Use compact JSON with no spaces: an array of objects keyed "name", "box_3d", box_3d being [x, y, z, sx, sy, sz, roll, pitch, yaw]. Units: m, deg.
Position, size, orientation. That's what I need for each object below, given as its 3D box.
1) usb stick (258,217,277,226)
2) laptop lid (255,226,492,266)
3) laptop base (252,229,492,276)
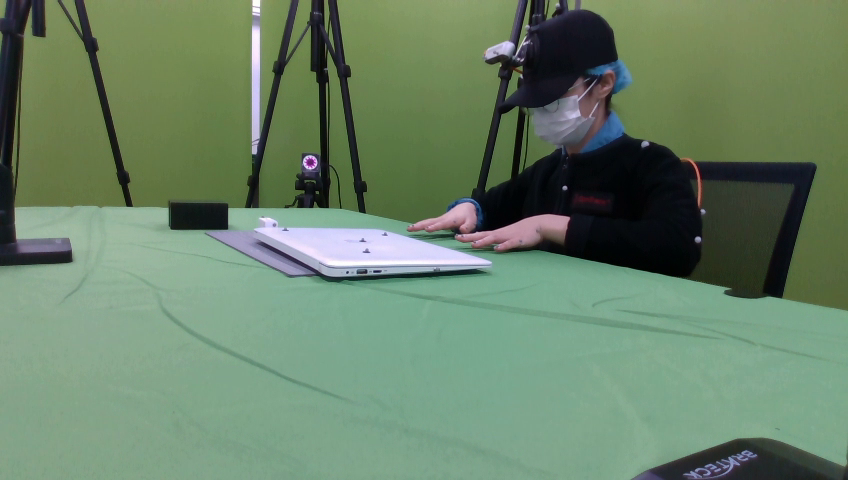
[{"name":"usb stick","box_3d":[-0.261,-0.022,1.016,0.021,0.027,0.059,0,13,-30]},{"name":"laptop lid","box_3d":[-0.092,0.003,0.888,0.243,0.013,0.355,1,8,-28]},{"name":"laptop base","box_3d":[-0.094,0.015,0.889,0.237,0.023,0.352,2,7,-30]}]
